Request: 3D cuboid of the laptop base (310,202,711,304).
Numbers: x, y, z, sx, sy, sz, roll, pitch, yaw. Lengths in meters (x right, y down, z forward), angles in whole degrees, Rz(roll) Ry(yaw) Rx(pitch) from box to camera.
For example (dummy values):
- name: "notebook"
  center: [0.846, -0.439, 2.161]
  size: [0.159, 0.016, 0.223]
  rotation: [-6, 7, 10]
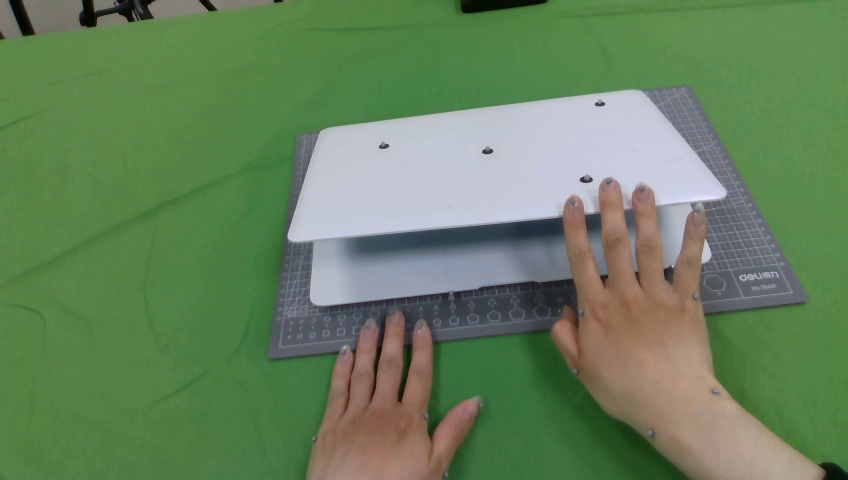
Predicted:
- name: "laptop base"
  center: [0.068, -0.050, 0.600]
  size: [0.354, 0.023, 0.233]
  rotation: [-7, 53, 3]

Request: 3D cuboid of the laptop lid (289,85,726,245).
- name: "laptop lid"
  center: [0.061, -0.082, 0.568]
  size: [0.356, 0.013, 0.239]
  rotation: [-5, 35, 4]
